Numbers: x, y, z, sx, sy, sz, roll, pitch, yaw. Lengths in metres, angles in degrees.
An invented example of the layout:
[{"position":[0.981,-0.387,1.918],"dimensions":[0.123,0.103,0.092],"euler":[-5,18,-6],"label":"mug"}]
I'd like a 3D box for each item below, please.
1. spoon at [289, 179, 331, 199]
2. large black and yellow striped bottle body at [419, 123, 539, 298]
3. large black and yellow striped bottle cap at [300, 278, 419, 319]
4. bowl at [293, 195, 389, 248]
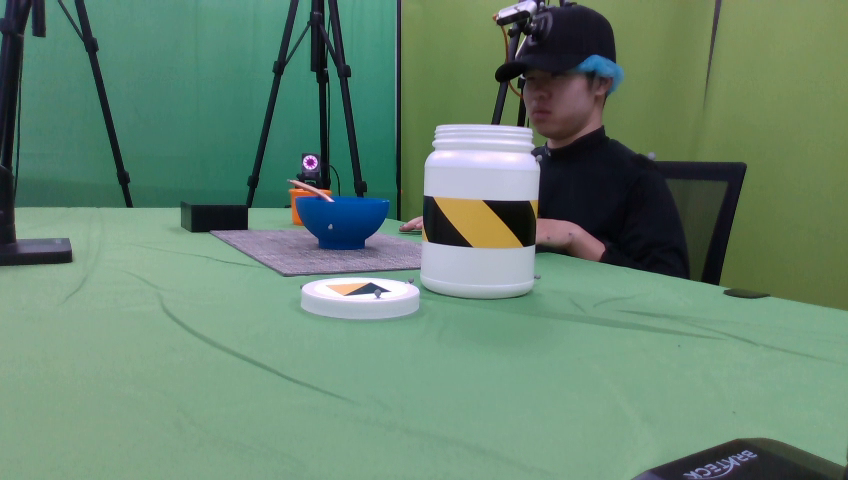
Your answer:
[{"position":[-0.167,-0.071,1.002],"dimensions":[0.042,0.021,0.192],"euler":[-8,31,-44],"label":"spoon"},{"position":[0.062,-0.036,0.683],"dimensions":[0.131,0.184,0.130],"euler":[2,7,0],"label":"large black and yellow striped bottle body"},{"position":[-0.062,0.055,0.588],"dimensions":[0.115,0.019,0.115],"euler":[1,6,0],"label":"large black and yellow striped bottle cap"},{"position":[-0.132,-0.030,0.961],"dimensions":[0.151,0.077,0.151],"euler":[2,7,0],"label":"bowl"}]
